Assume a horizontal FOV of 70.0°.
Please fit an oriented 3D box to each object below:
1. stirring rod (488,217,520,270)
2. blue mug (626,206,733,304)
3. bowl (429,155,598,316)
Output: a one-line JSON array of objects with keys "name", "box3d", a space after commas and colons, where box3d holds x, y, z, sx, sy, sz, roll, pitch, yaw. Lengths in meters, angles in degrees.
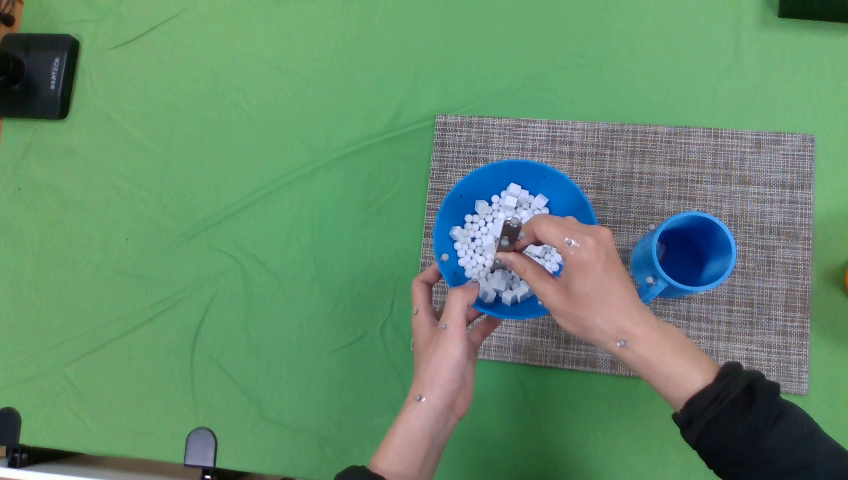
[{"name": "stirring rod", "box3d": [0.065, 0.007, 0.509, 0.014, 0.177, 0.006, 3, 76, 4]}, {"name": "blue mug", "box3d": [0.264, 0.026, 0.660, 0.082, 0.106, 0.116, 43, 90, 11]}, {"name": "bowl", "box3d": [0.084, 0.002, 0.581, 0.151, 0.077, 0.150, -1, 77, 6]}]
